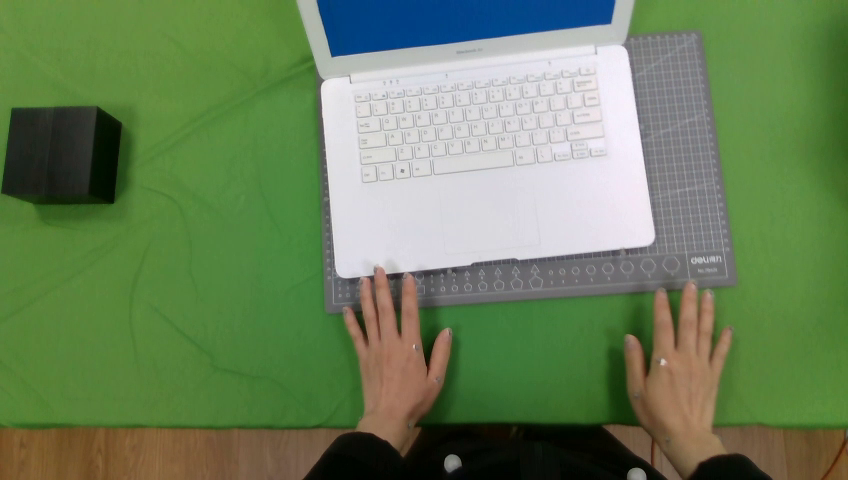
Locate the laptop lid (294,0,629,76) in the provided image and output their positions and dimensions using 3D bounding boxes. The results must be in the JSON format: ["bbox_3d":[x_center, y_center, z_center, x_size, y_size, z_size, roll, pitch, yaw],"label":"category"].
[{"bbox_3d":[0.040,-0.274,0.604,0.356,0.244,0.013,-8,56,3],"label":"laptop lid"}]

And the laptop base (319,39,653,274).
[{"bbox_3d":[0.064,-0.095,0.684,0.354,0.023,0.235,-7,84,2],"label":"laptop base"}]
